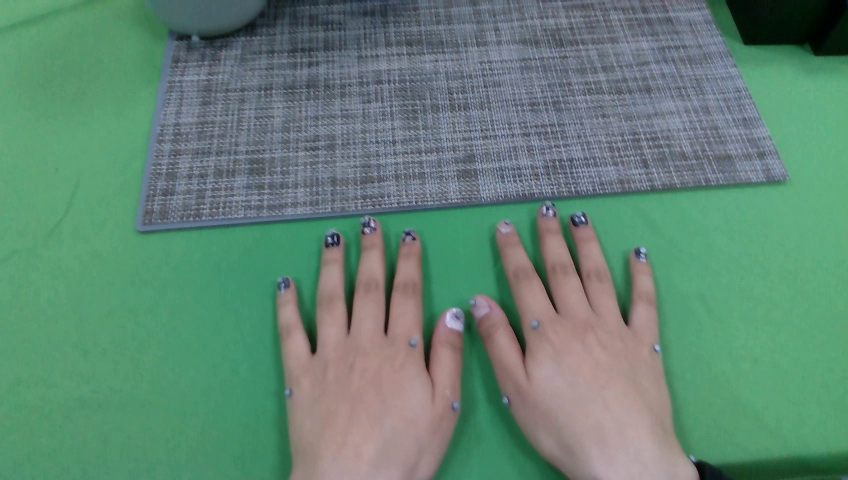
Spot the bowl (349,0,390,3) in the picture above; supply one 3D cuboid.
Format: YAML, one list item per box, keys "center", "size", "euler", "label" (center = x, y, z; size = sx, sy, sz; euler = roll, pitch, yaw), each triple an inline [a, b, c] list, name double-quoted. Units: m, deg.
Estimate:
- center: [-0.046, -0.259, 0.516]
  size: [0.151, 0.077, 0.150]
  euler: [0, 59, 0]
  label: "bowl"

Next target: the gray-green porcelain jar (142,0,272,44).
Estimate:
- center: [-0.178, -0.227, 0.467]
  size: [0.106, 0.127, 0.105]
  euler: [0, 58, 0]
  label: "gray-green porcelain jar"
